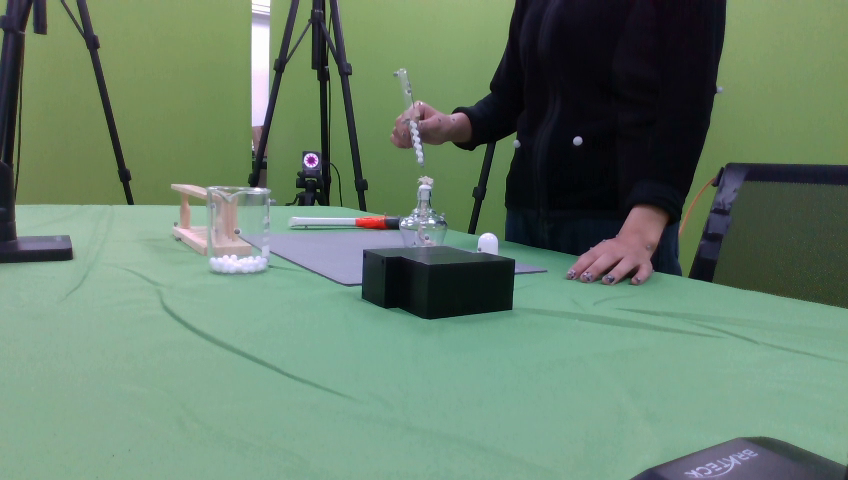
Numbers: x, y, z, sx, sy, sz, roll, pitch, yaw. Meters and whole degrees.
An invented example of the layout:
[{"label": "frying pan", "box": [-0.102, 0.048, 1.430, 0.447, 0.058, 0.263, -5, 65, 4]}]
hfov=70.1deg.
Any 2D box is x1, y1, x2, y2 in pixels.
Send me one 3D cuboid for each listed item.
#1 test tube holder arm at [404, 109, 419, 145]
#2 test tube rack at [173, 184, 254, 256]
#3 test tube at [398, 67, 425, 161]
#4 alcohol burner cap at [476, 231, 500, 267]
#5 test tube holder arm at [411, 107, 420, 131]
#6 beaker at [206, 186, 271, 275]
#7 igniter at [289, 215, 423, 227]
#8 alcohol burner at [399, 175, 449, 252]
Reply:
[{"label": "test tube holder arm", "box": [-0.020, -0.184, 1.000, 0.013, 0.015, 0.178, -8, -5, 2]}, {"label": "test tube rack", "box": [-0.328, -0.036, 0.927, 0.067, 0.085, 0.241, -2, 9, -32]}, {"label": "test tube", "box": [-0.019, -0.194, 0.933, 0.017, 0.150, 0.017, -12, -5, -1]}, {"label": "alcohol burner cap", "box": [0.088, 0.012, 0.830, 0.034, 0.048, 0.034, 2, 7, 0]}, {"label": "test tube holder arm", "box": [-0.015, -0.189, 0.955, 0.010, 0.015, 0.088, -8, -5, -6]}, {"label": "beaker", "box": [-0.220, -0.012, 0.717, 0.074, 0.100, 0.084, 2, 8, -3]}, {"label": "igniter", "box": [-0.133, -0.038, 1.232, 0.278, 0.025, 0.057, -1, -2, -25]}, {"label": "alcohol burner", "box": [0.000, -0.041, 0.937, 0.078, 0.119, 0.078, 0, 8, 0]}]
